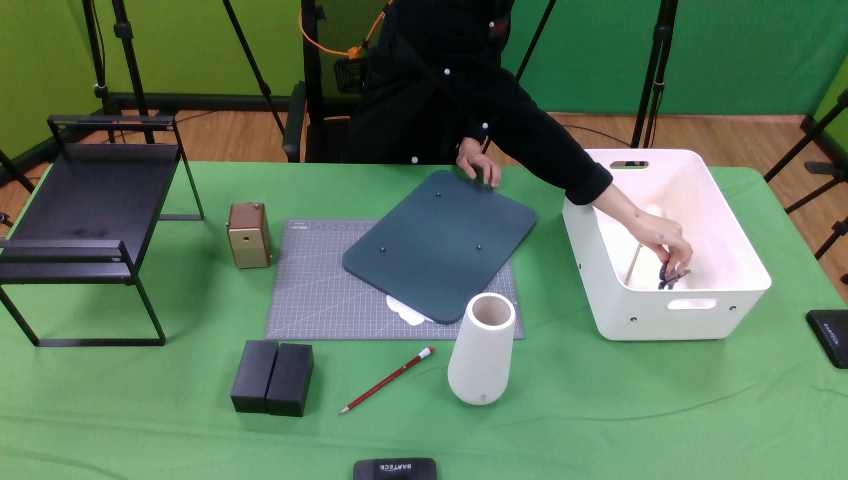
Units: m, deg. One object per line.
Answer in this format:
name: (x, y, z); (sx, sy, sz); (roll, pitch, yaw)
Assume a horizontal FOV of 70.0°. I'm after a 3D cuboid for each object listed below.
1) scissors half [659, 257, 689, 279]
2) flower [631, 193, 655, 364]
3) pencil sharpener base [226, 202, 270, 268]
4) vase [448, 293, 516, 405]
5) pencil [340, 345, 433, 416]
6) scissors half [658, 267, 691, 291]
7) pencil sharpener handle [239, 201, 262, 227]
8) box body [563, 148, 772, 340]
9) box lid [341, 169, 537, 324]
scissors half: (0.468, 0.055, 1.122); (0.012, 0.040, 0.176); (4, -2, 38)
flower: (0.422, 0.068, 1.187); (0.038, 0.044, 0.360); (21, 65, -18)
pencil sharpener base: (-0.323, -0.010, 1.123); (0.061, 0.107, 0.076); (-3, 46, -7)
vase: (0.091, 0.169, 0.921); (0.098, 0.201, 0.097); (3, 47, -3)
pencil: (-0.058, 0.227, 0.984); (0.194, 0.012, 0.012); (-32, 56, -28)
scissors half: (0.468, 0.075, 1.124); (0.013, 0.040, 0.175); (10, 20, 38)
pencil sharpener handle: (-0.325, -0.056, 1.149); (0.036, 0.068, 0.030); (-13, 46, 4)
box body: (0.421, 0.003, 1.130); (0.254, 0.161, 0.361); (0, 46, -5)
box lid: (0.038, -0.004, 1.210); (0.262, 0.015, 0.371); (27, 49, 21)
